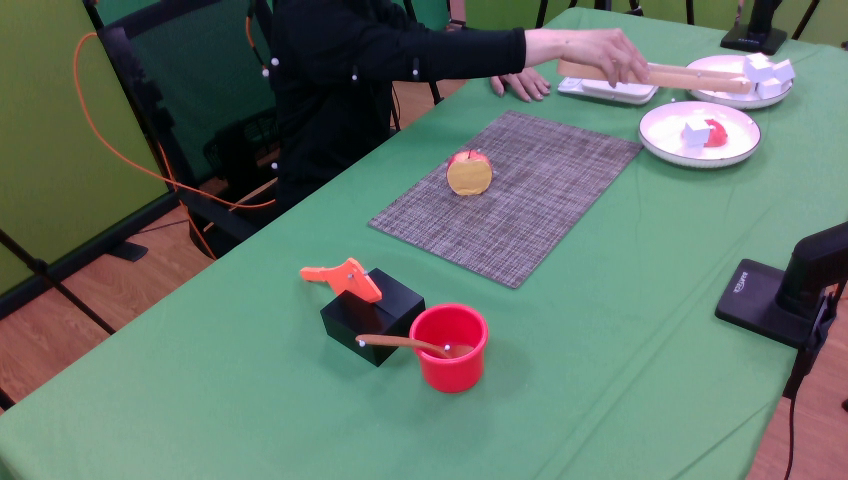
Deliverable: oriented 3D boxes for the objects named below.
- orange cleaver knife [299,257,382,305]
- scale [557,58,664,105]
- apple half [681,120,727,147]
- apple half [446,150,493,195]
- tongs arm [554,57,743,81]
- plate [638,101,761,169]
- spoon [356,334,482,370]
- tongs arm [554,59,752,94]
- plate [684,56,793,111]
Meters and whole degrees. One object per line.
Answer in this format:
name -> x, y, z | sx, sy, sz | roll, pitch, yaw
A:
orange cleaver knife -> -0.124, 0.062, 0.872 | 0.012, 0.077, 0.210 | -38, 17, -30
scale -> 0.407, -0.348, 1.314 | 0.199, 0.032, 0.149 | 19, 47, 28
apple half -> 0.518, -0.202, 1.115 | 0.081, 0.033, 0.081 | -1, 40, 2
apple half -> 0.080, -0.123, 1.065 | 0.081, 0.075, 0.053 | -7, 36, 7
tongs arm -> 0.437, -0.321, 1.170 | 0.389, 0.028, 0.028 | 4, 34, -8
plate -> 0.500, -0.190, 1.111 | 0.209, 0.038, 0.208 | -4, 41, 4
spoon -> -0.001, 0.130, 0.731 | 0.195, 0.021, 0.041 | 22, 28, -39
tongs arm -> 0.438, -0.310, 1.151 | 0.386, 0.026, 0.050 | 1, 31, -11
plate -> 0.636, -0.317, 1.239 | 0.207, 0.039, 0.206 | -4, 40, 4
